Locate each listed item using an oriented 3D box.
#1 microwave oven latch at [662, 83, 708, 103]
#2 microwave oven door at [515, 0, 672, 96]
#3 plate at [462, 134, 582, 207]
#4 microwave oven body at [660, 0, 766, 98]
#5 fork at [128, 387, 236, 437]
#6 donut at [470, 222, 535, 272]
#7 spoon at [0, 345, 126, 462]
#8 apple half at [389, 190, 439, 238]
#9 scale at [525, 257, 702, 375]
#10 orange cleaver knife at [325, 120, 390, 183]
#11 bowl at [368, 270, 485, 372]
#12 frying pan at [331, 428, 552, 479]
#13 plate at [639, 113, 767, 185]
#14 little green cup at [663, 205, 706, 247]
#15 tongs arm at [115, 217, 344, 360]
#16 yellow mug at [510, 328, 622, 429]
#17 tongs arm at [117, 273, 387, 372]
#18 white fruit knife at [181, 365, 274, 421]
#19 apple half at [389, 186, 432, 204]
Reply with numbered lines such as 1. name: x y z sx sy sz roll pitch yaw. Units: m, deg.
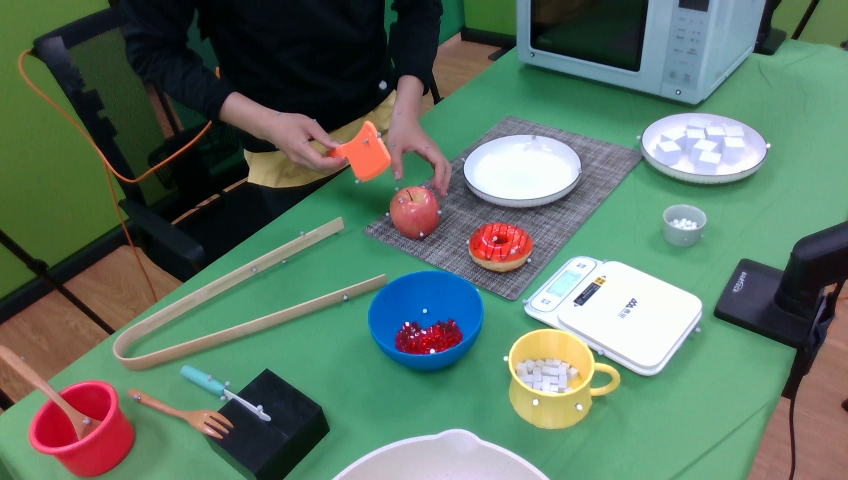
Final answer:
1. microwave oven latch: 0.517 -0.296 1.204 0.078 0.029 0.030 28 52 35
2. microwave oven door: 0.343 -0.455 1.259 0.353 0.245 0.039 26 51 33
3. plate: 0.173 -0.119 1.070 0.209 0.038 0.208 -4 40 4
4. microwave oven body: 0.472 -0.513 1.317 0.438 0.261 0.327 26 51 34
5. fork: -0.305 0.207 0.744 0.206 0.019 0.028 3 41 36
6. donut: 0.119 0.009 0.923 0.099 0.048 0.098 -4 38 3
7. spoon: -0.434 0.192 0.720 0.194 0.021 0.042 47 53 -7
8. apple half: -0.014 -0.035 0.973 0.081 0.075 0.053 -7 43 -4
9. scale: 0.254 0.091 0.821 0.199 0.032 0.149 27 51 35
10. orange cleaver knife: -0.103 -0.123 0.904 0.012 0.077 0.210 -24 8 -26
11. bowl: 0.007 0.118 0.791 0.151 0.077 0.150 -4 40 4
12. frying pan: -0.089 0.306 0.564 0.487 0.103 0.306 10 41 7
13. plate: 0.489 -0.157 1.074 0.207 0.039 0.206 -4 40 4
14. little green cup: 0.396 -0.020 0.926 0.061 0.039 0.061 -4 40 4
15. tongs arm: -0.280 0.068 0.927 0.386 0.026 0.050 -29 49 -23
16. yellow mug: 0.168 0.164 0.721 0.130 0.064 0.099 0 40 8
17. tongs arm: -0.236 0.116 0.871 0.389 0.028 0.028 -18 49 -12
18. white fruit knife: -0.245 0.187 0.747 0.205 0.027 0.016 9 41 40
19. apple half: -0.019 -0.061 1.002 0.081 0.081 0.032 -9 43 -2
